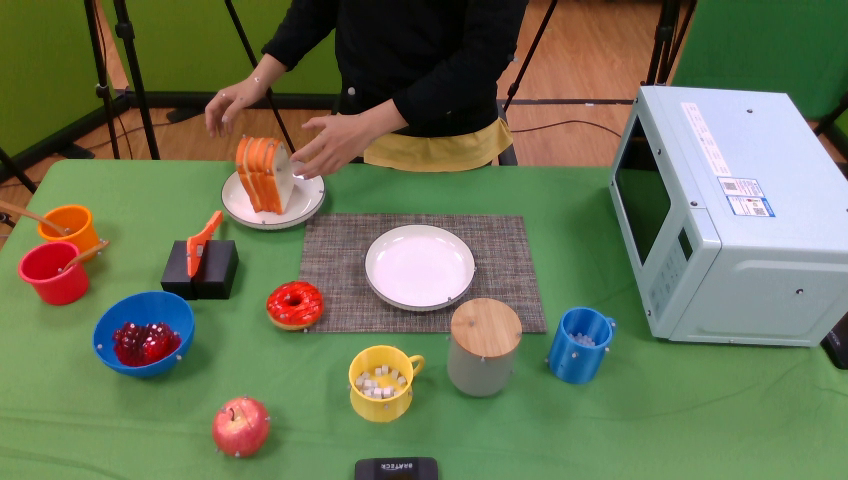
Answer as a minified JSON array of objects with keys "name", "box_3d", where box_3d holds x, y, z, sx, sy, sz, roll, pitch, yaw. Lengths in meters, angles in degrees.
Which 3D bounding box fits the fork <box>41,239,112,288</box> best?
[{"name":"fork","box_3d":[-0.591,0.040,1.028,0.207,0.019,0.028,-27,37,29]}]

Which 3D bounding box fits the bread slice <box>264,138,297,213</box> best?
[{"name":"bread slice","box_3d":[-0.287,-0.134,1.213,0.019,0.132,0.104,1,45,8]}]

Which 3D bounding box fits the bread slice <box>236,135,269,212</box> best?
[{"name":"bread slice","box_3d":[-0.341,-0.142,1.218,0.018,0.135,0.106,-3,45,7]}]

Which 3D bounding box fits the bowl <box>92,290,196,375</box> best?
[{"name":"bowl","box_3d":[-0.436,0.161,0.971,0.151,0.077,0.150,2,46,-2]}]

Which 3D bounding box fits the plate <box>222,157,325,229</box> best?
[{"name":"plate","box_3d":[-0.308,-0.095,1.251,0.209,0.038,0.208,2,47,-2]}]

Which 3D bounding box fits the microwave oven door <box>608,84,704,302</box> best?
[{"name":"microwave oven door","box_3d":[0.424,-0.096,1.138,0.039,0.245,0.353,3,46,-1]}]

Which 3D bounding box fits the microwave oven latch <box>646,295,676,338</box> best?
[{"name":"microwave oven latch","box_3d":[0.412,0.133,1.060,0.030,0.029,0.078,3,46,0]}]

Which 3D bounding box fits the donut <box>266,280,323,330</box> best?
[{"name":"donut","box_3d":[-0.223,0.113,1.051,0.099,0.048,0.098,2,46,-2]}]

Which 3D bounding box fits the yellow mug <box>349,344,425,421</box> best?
[{"name":"yellow mug","box_3d":[-0.054,0.217,0.954,0.131,0.064,0.099,-24,53,-25]}]

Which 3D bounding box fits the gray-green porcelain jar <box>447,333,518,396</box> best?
[{"name":"gray-green porcelain jar","box_3d":[0.091,0.178,0.960,0.106,0.127,0.105,2,46,-2]}]

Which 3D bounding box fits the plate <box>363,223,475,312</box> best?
[{"name":"plate","box_3d":[-0.009,0.054,1.126,0.208,0.039,0.206,2,46,-2]}]

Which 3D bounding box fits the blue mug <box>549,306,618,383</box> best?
[{"name":"blue mug","box_3d":[0.269,0.167,0.997,0.116,0.106,0.082,-19,50,-21]}]

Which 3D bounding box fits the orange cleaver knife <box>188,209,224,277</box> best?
[{"name":"orange cleaver knife","box_3d":[-0.402,0.000,1.123,0.012,0.077,0.210,1,22,-3]}]

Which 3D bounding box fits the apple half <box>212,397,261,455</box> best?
[{"name":"apple half","box_3d":[-0.276,0.276,0.877,0.053,0.075,0.080,-29,58,-21]}]

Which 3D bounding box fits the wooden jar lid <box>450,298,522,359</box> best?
[{"name":"wooden jar lid","box_3d":[0.093,0.135,0.914,0.108,0.021,0.107,3,48,-3]}]

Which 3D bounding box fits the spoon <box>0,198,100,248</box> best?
[{"name":"spoon","box_3d":[-0.684,-0.035,1.092,0.021,0.195,0.041,-34,41,26]}]

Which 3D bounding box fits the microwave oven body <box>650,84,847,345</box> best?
[{"name":"microwave oven body","box_3d":[0.569,-0.054,1.116,0.326,0.261,0.439,2,46,-1]}]

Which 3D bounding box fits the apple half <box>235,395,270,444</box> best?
[{"name":"apple half","box_3d":[-0.245,0.260,0.893,0.033,0.082,0.081,-29,55,-22]}]
